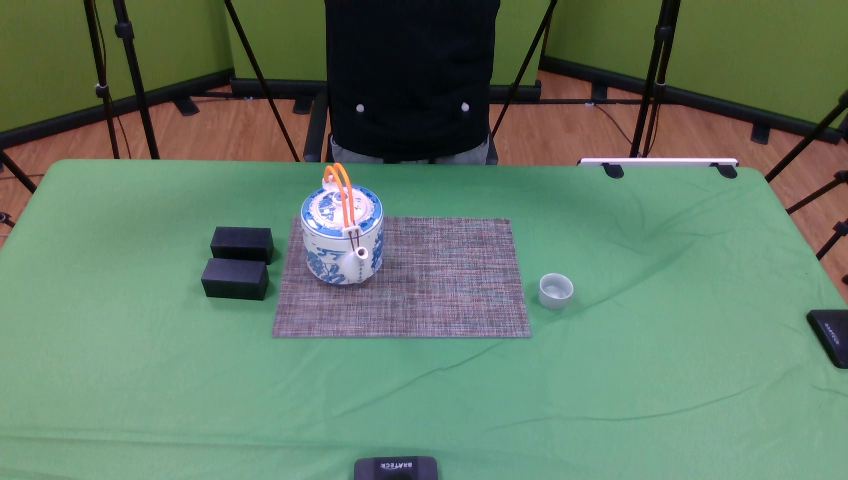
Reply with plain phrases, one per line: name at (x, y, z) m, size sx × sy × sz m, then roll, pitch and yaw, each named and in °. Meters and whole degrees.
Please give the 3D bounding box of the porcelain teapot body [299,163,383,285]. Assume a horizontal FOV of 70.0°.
porcelain teapot body at (-0.134, -0.014, 1.057) m, size 0.145 × 0.226 × 0.204 m, roll -16°, pitch 50°, yaw -19°

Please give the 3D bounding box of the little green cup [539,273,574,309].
little green cup at (0.240, 0.096, 1.113) m, size 0.061 × 0.039 × 0.061 m, roll 2°, pitch 47°, yaw -2°

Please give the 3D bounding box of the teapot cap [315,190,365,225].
teapot cap at (-0.145, -0.061, 1.046) m, size 0.085 × 0.044 × 0.084 m, roll 1°, pitch 48°, yaw -1°
